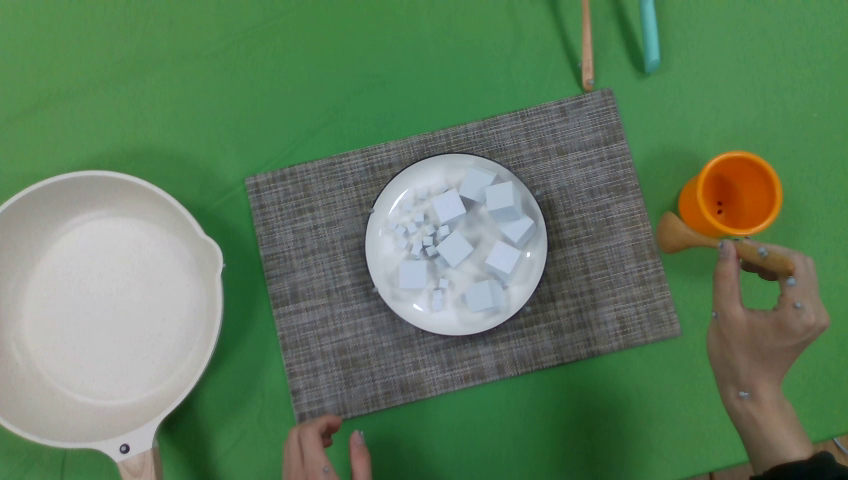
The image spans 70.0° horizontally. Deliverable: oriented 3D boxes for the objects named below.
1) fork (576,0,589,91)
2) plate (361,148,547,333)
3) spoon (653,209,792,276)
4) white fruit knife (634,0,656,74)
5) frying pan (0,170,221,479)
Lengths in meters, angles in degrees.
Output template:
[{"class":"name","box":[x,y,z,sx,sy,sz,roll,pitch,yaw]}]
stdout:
[{"class":"fork","box":[0.179,-0.279,0.701,0.028,0.018,0.208,-9,102,-6]},{"class":"plate","box":[0.033,0.001,0.689,0.208,0.039,0.207,0,84,1]},{"class":"spoon","box":[0.242,0.002,0.511,0.022,0.192,0.042,-2,99,-10]},{"class":"white fruit knife","box":[0.247,-0.300,0.702,0.016,0.027,0.208,-12,99,-3]},{"class":"frying pan","box":[-0.324,0.164,0.643,0.307,0.103,0.485,-21,76,-1]}]
